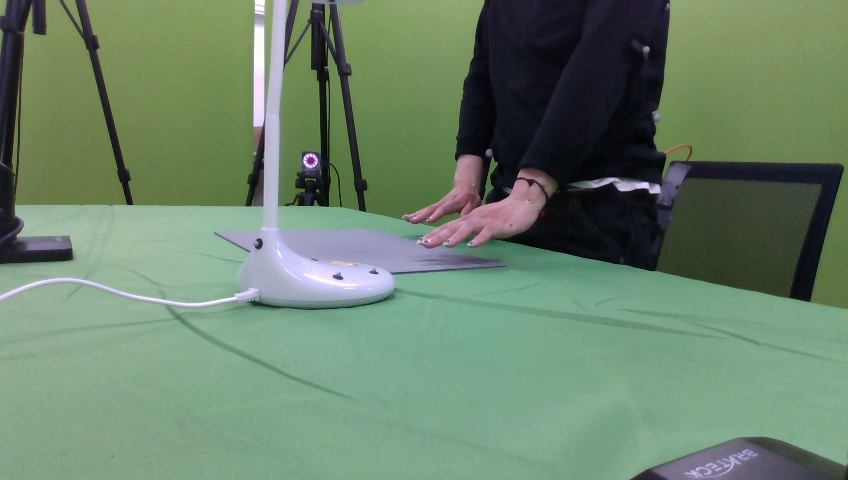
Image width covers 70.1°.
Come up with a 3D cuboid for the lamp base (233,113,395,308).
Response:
[{"bbox_3d":[-0.113,-0.033,0.600,0.160,0.180,0.180,6,11,28],"label":"lamp base"}]

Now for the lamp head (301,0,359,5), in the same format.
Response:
[{"bbox_3d":[-0.095,-0.314,0.610,0.112,0.123,0.112,-4,50,5],"label":"lamp head"}]
